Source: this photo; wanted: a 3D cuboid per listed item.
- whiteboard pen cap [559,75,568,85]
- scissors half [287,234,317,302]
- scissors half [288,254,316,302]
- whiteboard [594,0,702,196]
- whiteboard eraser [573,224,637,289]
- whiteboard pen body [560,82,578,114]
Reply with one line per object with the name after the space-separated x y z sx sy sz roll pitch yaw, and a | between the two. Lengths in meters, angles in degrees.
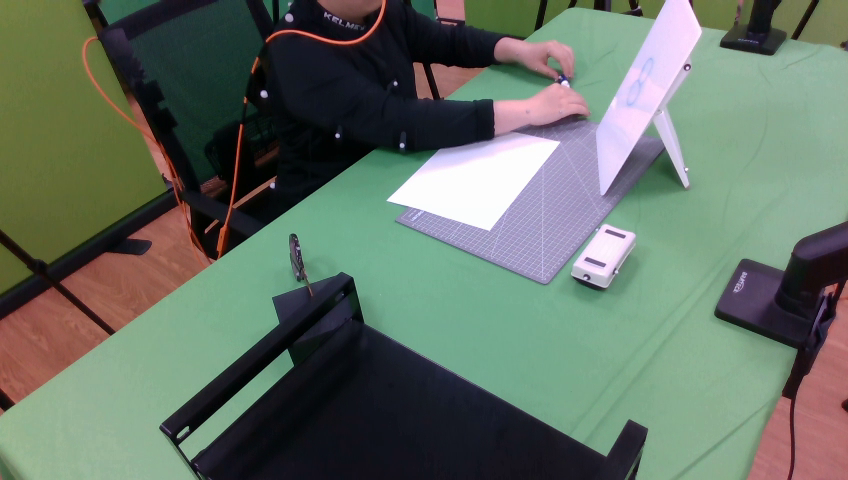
0.310 -0.350 1.340 0.018 0.018 0.033 -5 43 3 | whiteboard pen cap
-0.179 0.040 0.884 0.013 0.040 0.173 -11 36 -20 | scissors half
-0.178 0.058 0.894 0.013 0.040 0.174 -16 20 -17 | scissors half
0.420 -0.227 1.010 0.144 0.305 0.216 18 42 -2 | whiteboard
0.267 0.025 0.890 0.055 0.042 0.113 19 47 31 | whiteboard eraser
0.309 -0.311 1.298 0.017 0.017 0.140 -6 41 2 | whiteboard pen body
